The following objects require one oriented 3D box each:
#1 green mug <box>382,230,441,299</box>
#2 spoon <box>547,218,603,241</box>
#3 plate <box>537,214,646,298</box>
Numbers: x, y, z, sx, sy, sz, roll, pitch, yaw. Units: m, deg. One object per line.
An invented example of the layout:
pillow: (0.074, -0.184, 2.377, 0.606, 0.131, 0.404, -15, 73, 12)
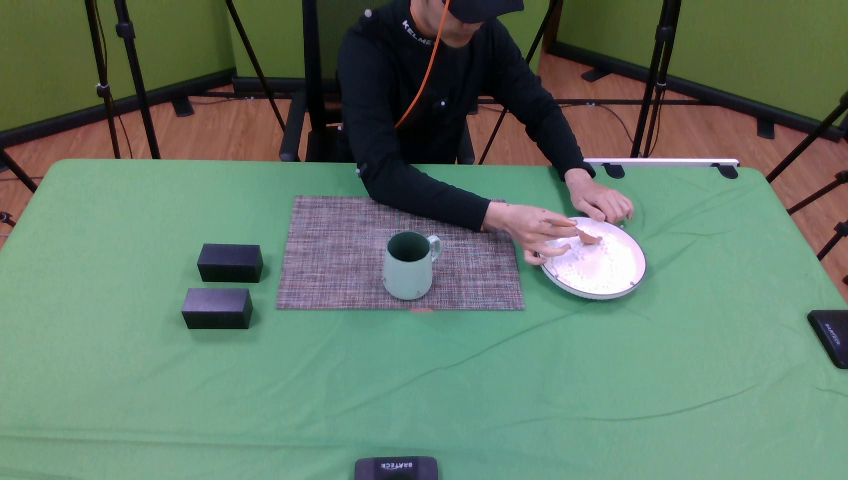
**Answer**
green mug: (-0.017, 0.037, 1.097, 0.125, 0.105, 0.092, -34, 57, -31)
spoon: (0.286, -0.022, 1.157, 0.041, 0.195, 0.021, 0, 77, 44)
plate: (0.321, 0.035, 1.176, 0.209, 0.038, 0.208, 2, 47, -2)
